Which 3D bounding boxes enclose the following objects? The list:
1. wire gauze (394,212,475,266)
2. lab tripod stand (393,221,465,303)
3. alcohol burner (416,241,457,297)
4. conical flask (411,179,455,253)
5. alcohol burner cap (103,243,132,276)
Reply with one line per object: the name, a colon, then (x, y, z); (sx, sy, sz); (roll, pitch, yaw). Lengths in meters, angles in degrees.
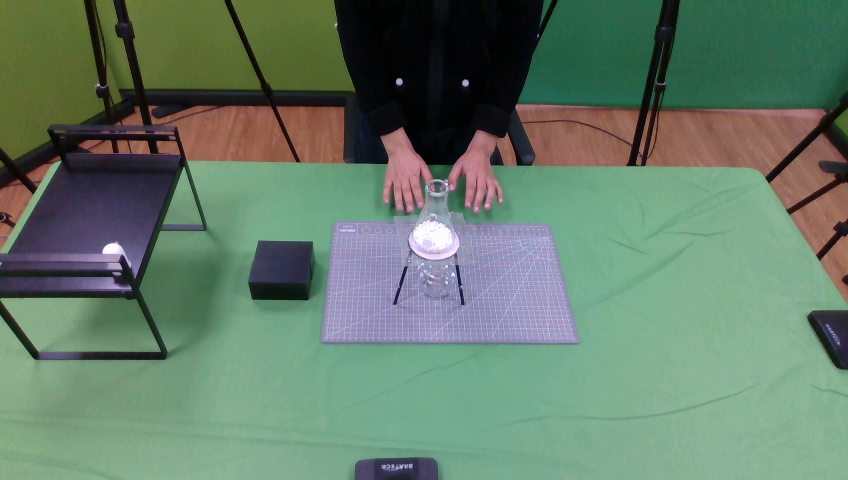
wire gauze: (0.015, -0.001, 1.029); (0.125, 0.011, 0.120); (-5, 45, -5)
lab tripod stand: (0.010, 0.045, 1.074); (0.148, 0.132, 0.147); (2, 48, -2)
alcohol burner: (0.024, 0.047, 1.088); (0.078, 0.120, 0.077); (1, 47, -1)
conical flask: (0.018, -0.042, 0.985); (0.075, 0.122, 0.075); (2, 47, -2)
alcohol burner cap: (-0.446, 0.025, 0.875); (0.034, 0.048, 0.033); (3, 46, -3)
